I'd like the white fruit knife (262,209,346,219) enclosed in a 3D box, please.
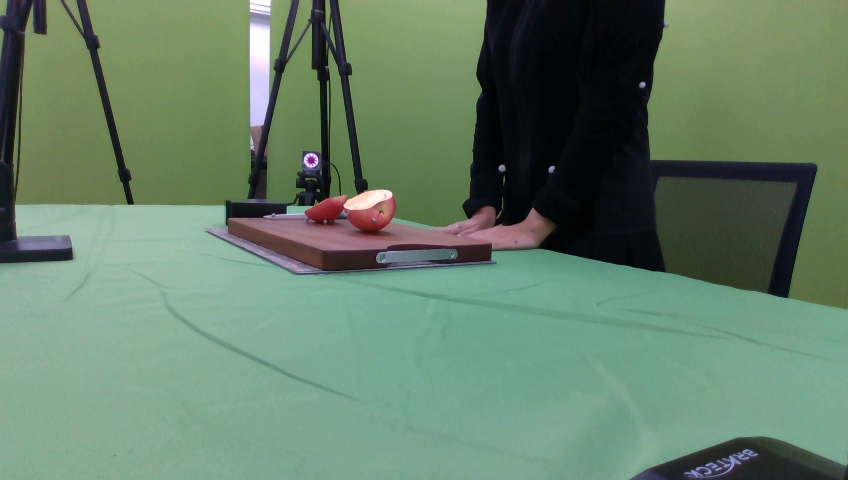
[{"bbox_3d":[-0.198,-0.047,1.113,0.208,0.016,0.027,-5,-19,-35],"label":"white fruit knife"}]

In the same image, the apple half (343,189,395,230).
[{"bbox_3d":[-0.085,-0.043,0.954,0.081,0.053,0.074,-32,30,-34],"label":"apple half"}]

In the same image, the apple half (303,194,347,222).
[{"bbox_3d":[-0.165,-0.051,1.051,0.081,0.033,0.081,-21,-3,-1],"label":"apple half"}]
